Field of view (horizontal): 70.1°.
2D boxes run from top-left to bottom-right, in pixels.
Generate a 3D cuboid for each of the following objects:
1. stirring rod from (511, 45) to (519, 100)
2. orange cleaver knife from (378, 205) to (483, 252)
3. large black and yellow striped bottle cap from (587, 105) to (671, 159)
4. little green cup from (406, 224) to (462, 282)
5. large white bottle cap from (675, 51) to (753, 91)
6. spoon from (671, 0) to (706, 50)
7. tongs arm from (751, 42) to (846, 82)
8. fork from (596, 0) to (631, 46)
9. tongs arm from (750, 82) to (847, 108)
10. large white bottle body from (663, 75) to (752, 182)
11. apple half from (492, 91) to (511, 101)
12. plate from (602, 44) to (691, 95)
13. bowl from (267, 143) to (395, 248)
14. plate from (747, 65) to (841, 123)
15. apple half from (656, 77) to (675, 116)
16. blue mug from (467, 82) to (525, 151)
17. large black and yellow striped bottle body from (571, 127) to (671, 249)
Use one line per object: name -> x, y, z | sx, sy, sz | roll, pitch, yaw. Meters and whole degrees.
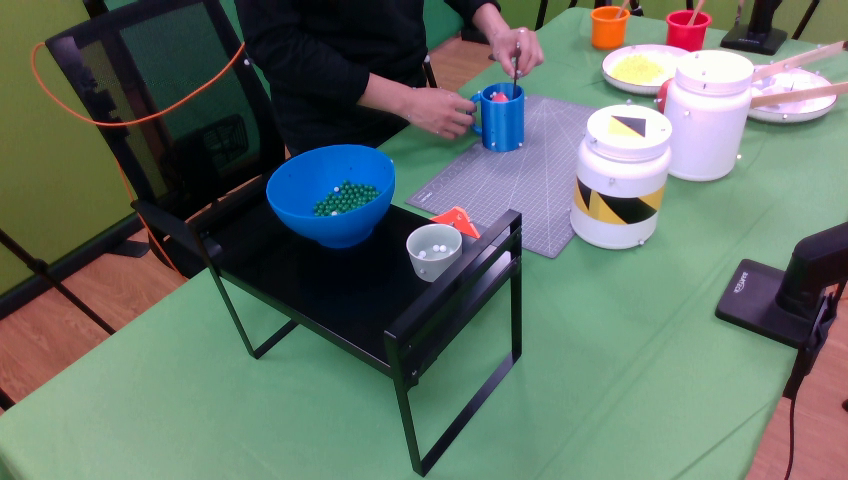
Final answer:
stirring rod -> 0.168, -0.288, 1.135 | 0.006, 0.177, 0.014 | 1, 51, 3
orange cleaver knife -> 0.005, -0.010, 0.944 | 0.210, 0.077, 0.012 | -5, 23, 47
large black and yellow striped bottle cap -> 0.290, -0.154, 0.858 | 0.115, 0.019, 0.114 | -4, 42, 4
little green cup -> 0.012, 0.015, 0.668 | 0.061, 0.039, 0.061 | -4, 40, 4
large white bottle cap -> 0.463, -0.271, 0.967 | 0.115, 0.018, 0.114 | -4, 40, 4
spoon -> 0.628, -0.520, 1.394 | 0.041, 0.022, 0.193 | 30, 96, 34
tongs arm -> 0.708, -0.331, 1.193 | 0.386, 0.026, 0.050 | -18, 45, -16
fork -> 0.481, -0.555, 1.452 | 0.028, 0.019, 0.207 | 41, 104, 39
tongs arm -> 0.734, -0.281, 1.133 | 0.388, 0.028, 0.028 | -9, 46, -5
large white bottle body -> 0.472, -0.207, 1.022 | 0.130, 0.185, 0.130 | -4, 41, 4
apple half -> 0.144, -0.241, 1.154 | 0.033, 0.081, 0.080 | -14, 40, -20
plate -> 0.494, -0.366, 1.317 | 0.209, 0.038, 0.208 | -4, 40, 4
bowl -> -0.104, -0.043, 0.726 | 0.151, 0.077, 0.150 | -4, 40, 4
plate -> 0.694, -0.282, 1.189 | 0.207, 0.039, 0.206 | -4, 40, 4
apple half -> 0.488, -0.281, 1.192 | 0.053, 0.075, 0.081 | 24, 54, 37
blue mug -> 0.138, -0.241, 1.170 | 0.116, 0.106, 0.082 | 11, 44, 21
large black and yellow striped bottle body -> 0.296, -0.093, 0.915 | 0.131, 0.185, 0.130 | -3, 42, 3
